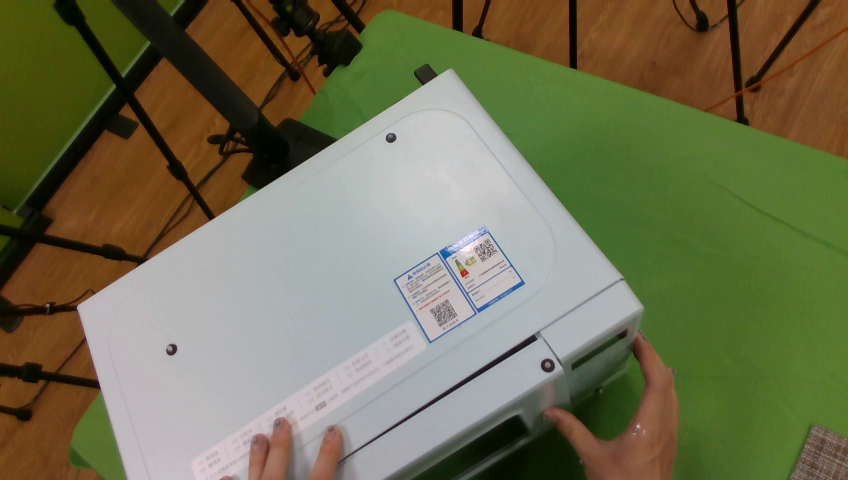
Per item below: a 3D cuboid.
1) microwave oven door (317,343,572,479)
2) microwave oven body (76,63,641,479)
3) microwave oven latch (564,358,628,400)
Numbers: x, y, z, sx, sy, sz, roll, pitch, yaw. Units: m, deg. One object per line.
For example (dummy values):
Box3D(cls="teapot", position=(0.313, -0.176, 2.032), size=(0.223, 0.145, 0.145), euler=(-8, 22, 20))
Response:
Box3D(cls="microwave oven door", position=(-0.025, 0.223, 0.568), size=(0.356, 0.246, 0.039), euler=(-32, 62, 0))
Box3D(cls="microwave oven body", position=(-0.060, 0.091, 0.640), size=(0.442, 0.262, 0.323), euler=(-33, 63, 0))
Box3D(cls="microwave oven latch", position=(0.184, 0.143, 0.661), size=(0.079, 0.030, 0.030), euler=(-31, 63, 1))
